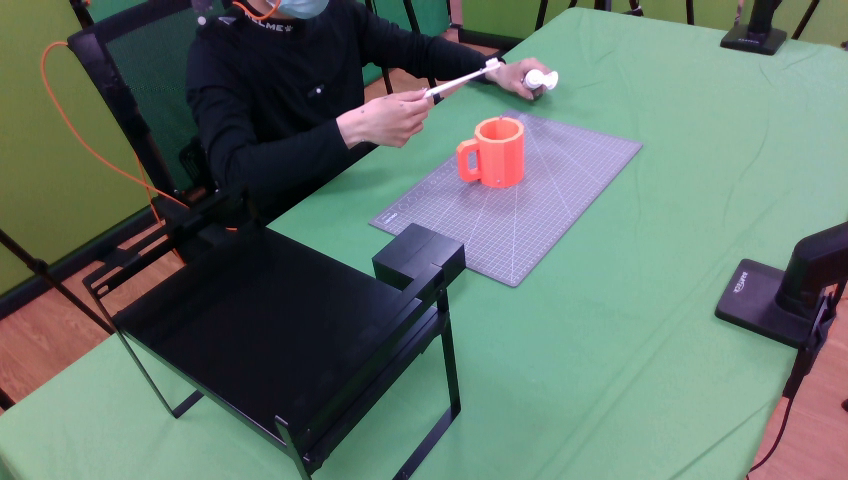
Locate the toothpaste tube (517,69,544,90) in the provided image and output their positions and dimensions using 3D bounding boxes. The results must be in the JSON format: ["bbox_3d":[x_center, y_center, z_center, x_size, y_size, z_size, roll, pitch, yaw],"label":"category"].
[{"bbox_3d":[0.225,-0.329,1.254,0.055,0.034,0.165,-6,7,5],"label":"toothpaste tube"}]

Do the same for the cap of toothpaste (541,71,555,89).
[{"bbox_3d":[0.240,-0.311,1.168,0.011,0.037,0.037,13,33,-27],"label":"cap of toothpaste"}]

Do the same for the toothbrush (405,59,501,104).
[{"bbox_3d":[0.048,-0.278,1.067,0.181,0.017,0.014,-19,45,17],"label":"toothbrush"}]

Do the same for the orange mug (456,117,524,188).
[{"bbox_3d":[0.117,-0.152,1.071,0.127,0.101,0.083,-14,41,-14],"label":"orange mug"}]
